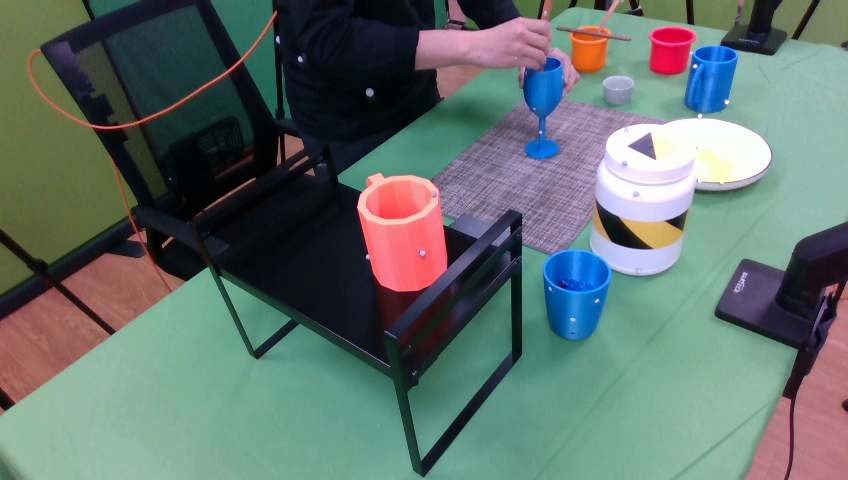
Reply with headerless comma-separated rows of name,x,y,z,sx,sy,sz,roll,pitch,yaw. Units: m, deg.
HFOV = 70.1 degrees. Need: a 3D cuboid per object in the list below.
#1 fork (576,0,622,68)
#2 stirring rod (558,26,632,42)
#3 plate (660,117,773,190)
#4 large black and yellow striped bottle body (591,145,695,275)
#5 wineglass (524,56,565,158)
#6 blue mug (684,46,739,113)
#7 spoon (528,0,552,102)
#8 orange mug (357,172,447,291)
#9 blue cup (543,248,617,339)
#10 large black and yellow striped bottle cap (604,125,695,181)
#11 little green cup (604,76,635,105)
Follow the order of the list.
fork,0.409,-0.484,1.381,0.028,0.019,0.207,37,101,45
stirring rod,0.381,-0.462,1.356,0.175,0.006,0.014,22,48,30
plate,0.495,-0.149,1.063,0.209,0.038,0.208,-5,40,5
large black and yellow striped bottle body,0.313,-0.056,0.871,0.131,0.185,0.130,-4,40,4
wineglass,0.218,-0.240,1.102,0.074,0.173,0.073,-5,41,4
blue mug,0.556,-0.310,1.190,0.117,0.106,0.081,-32,46,-25
spoon,0.201,-0.322,1.034,0.042,0.194,0.021,-21,43,-19
orange mug,-0.030,-0.018,0.669,0.084,0.101,0.125,-23,47,-16
blue cup,0.199,0.076,0.797,0.092,0.100,0.092,-4,39,4
large black and yellow striped bottle cap,0.304,-0.120,0.817,0.115,0.019,0.114,-3,41,3
little green cup,0.408,-0.312,1.266,0.061,0.039,0.061,-4,40,4
